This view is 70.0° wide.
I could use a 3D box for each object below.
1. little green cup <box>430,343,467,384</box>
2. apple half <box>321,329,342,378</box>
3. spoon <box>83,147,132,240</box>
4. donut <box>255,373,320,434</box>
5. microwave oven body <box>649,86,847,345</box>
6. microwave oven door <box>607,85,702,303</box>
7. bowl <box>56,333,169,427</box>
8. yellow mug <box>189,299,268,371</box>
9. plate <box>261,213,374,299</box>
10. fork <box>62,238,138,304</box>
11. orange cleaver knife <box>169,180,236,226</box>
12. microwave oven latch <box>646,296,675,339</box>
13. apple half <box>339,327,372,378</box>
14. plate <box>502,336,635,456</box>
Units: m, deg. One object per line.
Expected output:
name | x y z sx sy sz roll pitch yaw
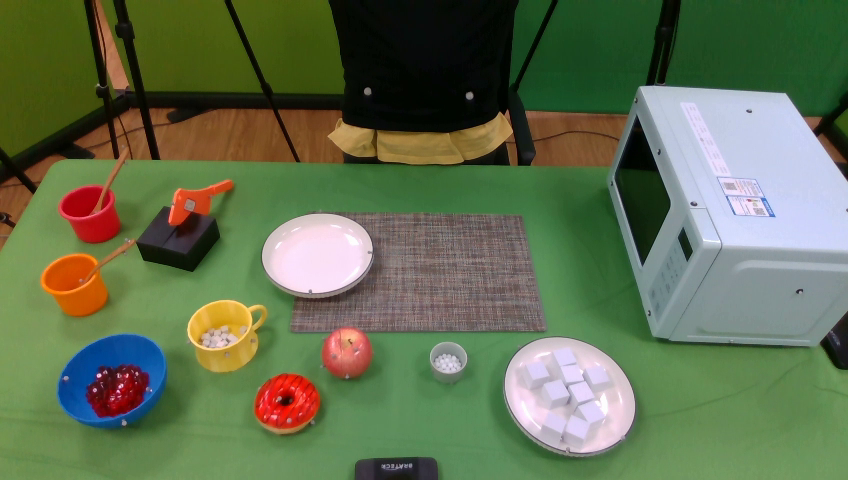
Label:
little green cup | 0.039 0.203 0.994 0.061 0.039 0.061 2 46 -2
apple half | -0.149 0.186 0.972 0.033 0.081 0.080 -2 46 -12
spoon | -0.602 -0.089 1.157 0.041 0.022 0.194 27 95 20
donut | -0.209 0.249 0.928 0.099 0.048 0.098 3 43 -3
microwave oven body | 0.567 -0.053 1.118 0.326 0.261 0.439 2 45 -1
microwave oven door | 0.423 -0.094 1.140 0.039 0.245 0.353 2 46 -1
bowl | -0.456 0.223 0.911 0.151 0.077 0.150 3 45 -2
yellow mug | -0.316 0.148 1.002 0.131 0.064 0.099 -33 56 -31
plate | -0.198 0.032 1.137 0.209 0.038 0.208 2 46 -2
fork | -0.547 0.053 1.018 0.207 0.019 0.028 -36 41 23
orange cleaver knife | -0.436 -0.076 1.199 0.012 0.077 0.211 18 18 9
microwave oven latch | 0.412 0.134 1.061 0.030 0.029 0.078 4 45 1
apple half | -0.111 0.182 0.980 0.053 0.075 0.080 -2 42 -12
plate | 0.225 0.248 0.963 0.208 0.039 0.206 2 46 -2
